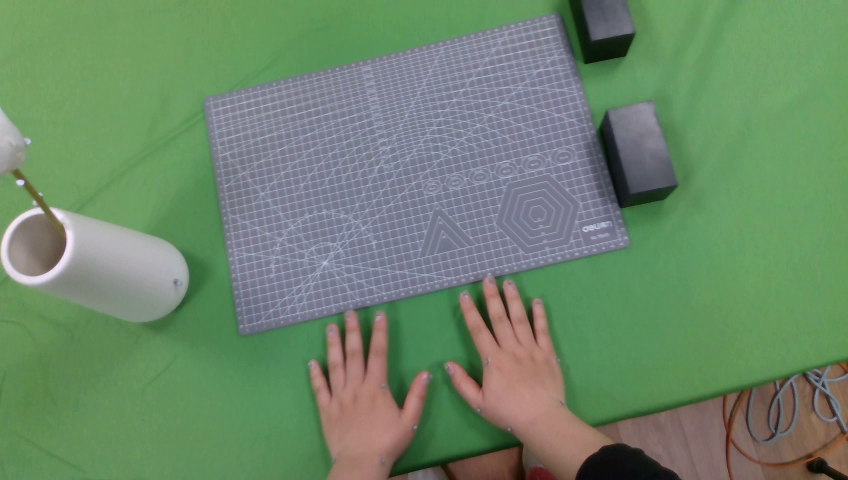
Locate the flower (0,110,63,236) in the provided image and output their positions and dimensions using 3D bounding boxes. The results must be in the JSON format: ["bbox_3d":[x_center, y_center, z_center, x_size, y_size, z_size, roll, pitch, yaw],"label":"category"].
[{"bbox_3d":[-0.313,-0.002,0.534,0.038,0.363,0.043,-27,71,-20],"label":"flower"}]

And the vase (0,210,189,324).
[{"bbox_3d":[-0.320,0.029,0.611,0.098,0.201,0.097,-1,76,4],"label":"vase"}]
